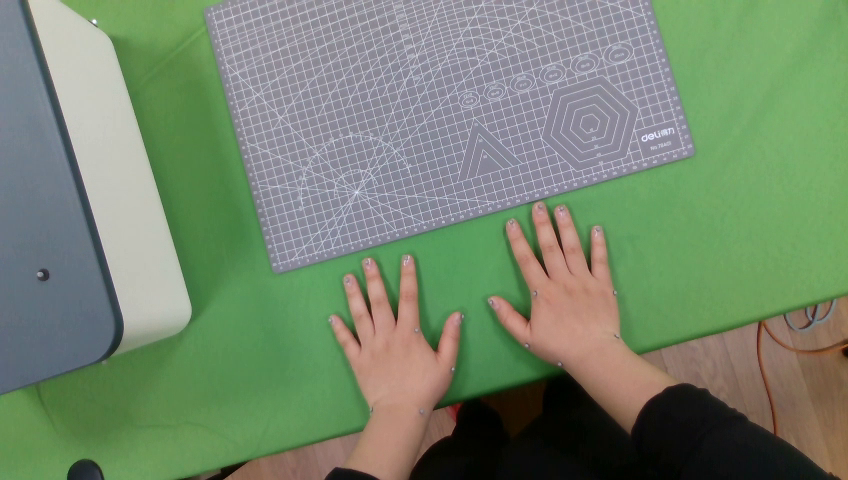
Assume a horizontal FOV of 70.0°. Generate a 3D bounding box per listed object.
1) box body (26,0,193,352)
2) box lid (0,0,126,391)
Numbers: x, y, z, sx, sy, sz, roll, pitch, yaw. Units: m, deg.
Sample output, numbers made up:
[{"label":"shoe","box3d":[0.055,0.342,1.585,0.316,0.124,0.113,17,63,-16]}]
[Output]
[{"label":"box body","box3d":[-0.414,-0.041,0.596,0.254,0.160,0.363,-19,87,5]},{"label":"box lid","box3d":[-0.423,-0.045,0.522,0.263,0.015,0.371,-19,88,6]}]
